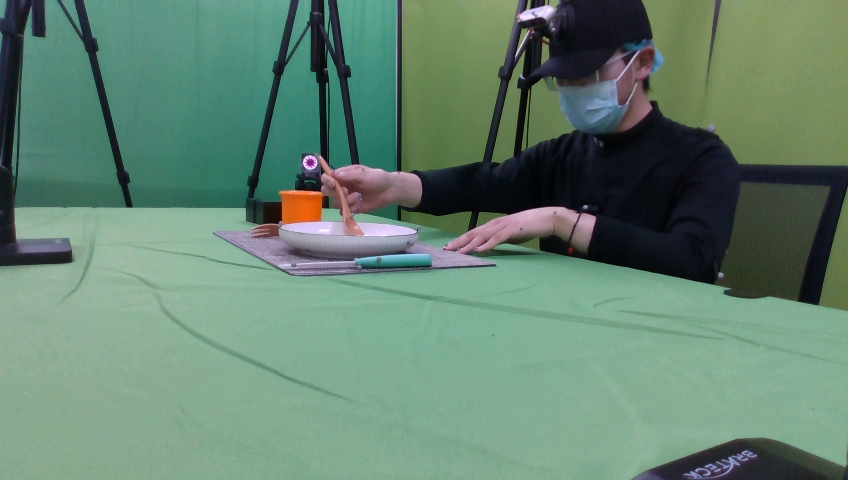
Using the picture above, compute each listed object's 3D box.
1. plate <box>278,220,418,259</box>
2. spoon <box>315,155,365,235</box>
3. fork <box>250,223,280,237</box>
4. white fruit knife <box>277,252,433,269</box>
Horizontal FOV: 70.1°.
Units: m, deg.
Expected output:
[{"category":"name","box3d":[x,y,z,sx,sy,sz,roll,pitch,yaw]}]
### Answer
[{"category":"plate","box3d":[-0.114,-0.002,0.914,0.209,0.038,0.209,2,8,0]},{"category":"spoon","box3d":[-0.141,-0.073,1.012,0.021,0.193,0.042,-40,-29,26]},{"category":"fork","box3d":[-0.194,-0.014,1.051,0.208,0.028,0.018,2,35,-14]},{"category":"white fruit knife","box3d":[-0.082,0.029,0.772,0.208,0.016,0.027,-3,-20,-22]}]
